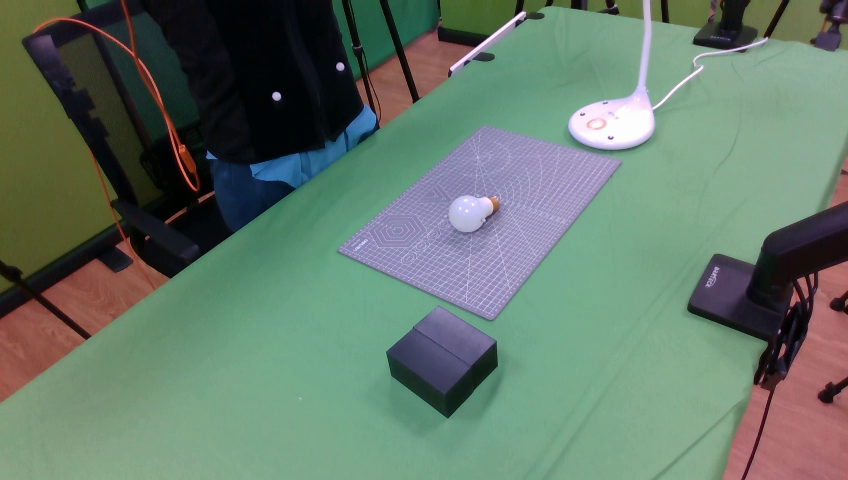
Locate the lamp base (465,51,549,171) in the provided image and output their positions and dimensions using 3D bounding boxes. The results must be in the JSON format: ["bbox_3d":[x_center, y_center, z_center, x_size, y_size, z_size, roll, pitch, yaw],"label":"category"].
[{"bbox_3d":[0.159,-0.243,1.103,0.180,0.181,0.159,-31,46,-29],"label":"lamp base"}]
